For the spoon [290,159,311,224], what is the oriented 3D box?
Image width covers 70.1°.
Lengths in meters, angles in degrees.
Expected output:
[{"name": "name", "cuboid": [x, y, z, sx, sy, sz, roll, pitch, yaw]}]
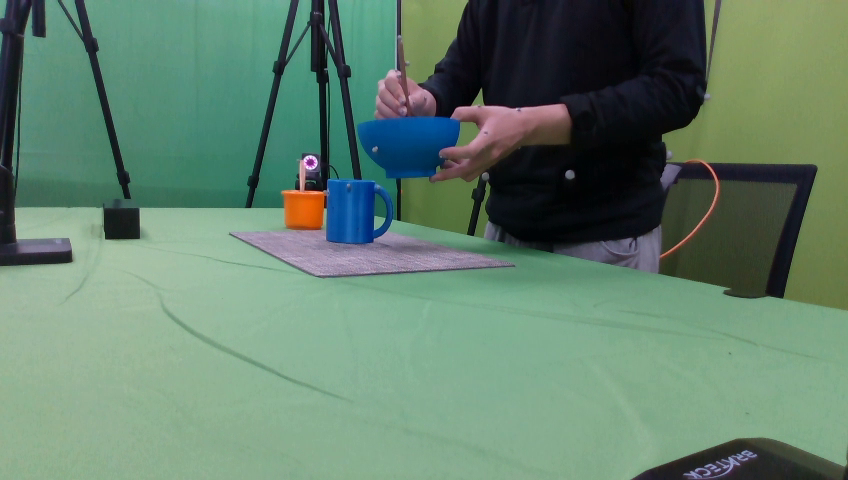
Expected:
[{"name": "spoon", "cuboid": [-0.256, -0.104, 1.265, 0.042, 0.193, 0.021, 1, -37, -9]}]

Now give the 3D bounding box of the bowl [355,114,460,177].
[{"name": "bowl", "cuboid": [-0.022, -0.131, 0.871, 0.151, 0.077, 0.151, -3, 4, 1]}]

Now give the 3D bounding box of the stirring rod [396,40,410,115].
[{"name": "stirring rod", "cuboid": [-0.027, -0.201, 0.881, 0.006, 0.176, 0.014, -10, 9, -19]}]

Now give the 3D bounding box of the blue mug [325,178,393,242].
[{"name": "blue mug", "cuboid": [-0.111, -0.052, 1.034, 0.116, 0.106, 0.082, 3, 7, 7]}]
